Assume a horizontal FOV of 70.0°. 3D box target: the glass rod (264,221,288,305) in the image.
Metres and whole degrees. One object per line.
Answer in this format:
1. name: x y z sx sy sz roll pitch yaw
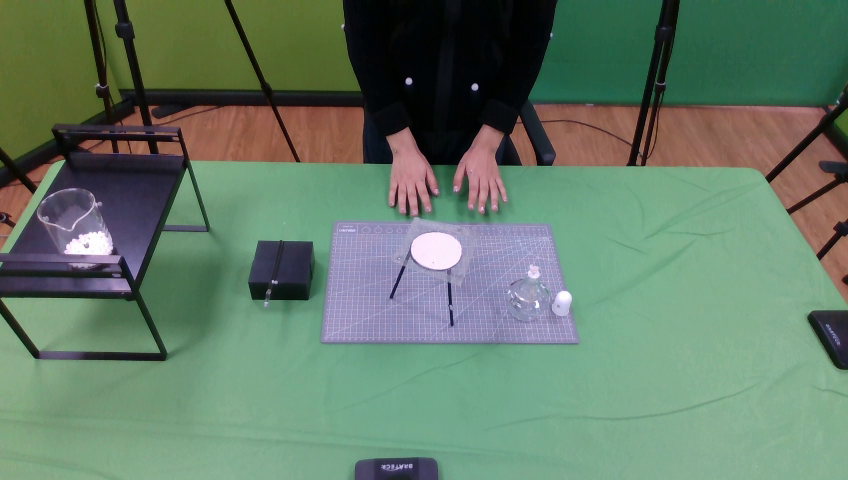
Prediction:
1. glass rod: -0.263 0.037 1.083 0.008 0.008 0.198 3 46 -1

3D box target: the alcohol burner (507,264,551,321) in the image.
1. alcohol burner: 0.185 0.086 1.056 0.078 0.120 0.077 1 46 -1

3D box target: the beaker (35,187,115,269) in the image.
1. beaker: -0.494 -0.012 0.867 0.074 0.101 0.083 -17 50 -18

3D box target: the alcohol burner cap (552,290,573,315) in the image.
1. alcohol burner cap: 0.250 0.109 1.088 0.034 0.048 0.033 4 47 -4

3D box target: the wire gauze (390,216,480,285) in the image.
1. wire gauze: 0.020 0.012 1.009 0.125 0.011 0.121 16 47 12

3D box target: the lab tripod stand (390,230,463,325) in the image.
1. lab tripod stand: 0.014 0.060 1.056 0.148 0.132 0.147 1 48 -1
